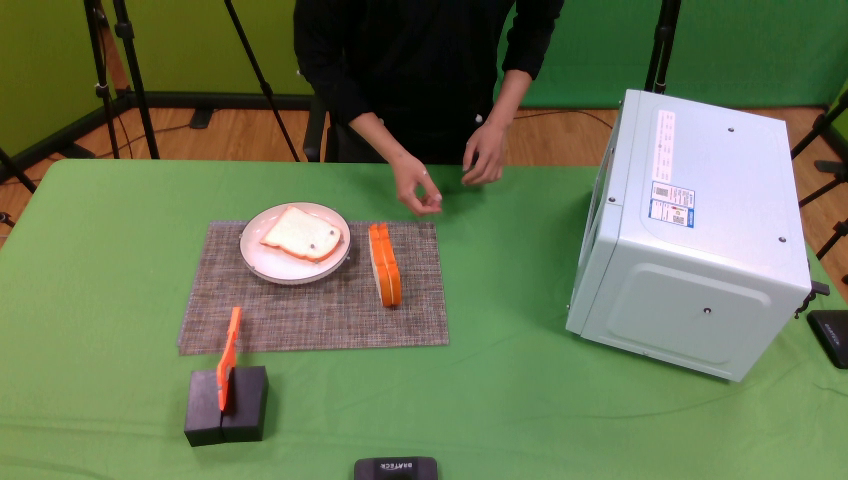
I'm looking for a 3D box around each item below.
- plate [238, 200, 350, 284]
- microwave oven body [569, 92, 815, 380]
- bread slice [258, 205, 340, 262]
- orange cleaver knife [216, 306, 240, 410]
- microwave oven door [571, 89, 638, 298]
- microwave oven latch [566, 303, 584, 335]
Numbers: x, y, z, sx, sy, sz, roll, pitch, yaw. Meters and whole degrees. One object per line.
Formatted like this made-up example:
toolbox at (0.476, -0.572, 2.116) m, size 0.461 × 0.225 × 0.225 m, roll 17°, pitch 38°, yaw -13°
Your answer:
plate at (-0.245, 0.007, 1.155) m, size 0.208 × 0.039 × 0.206 m, roll 2°, pitch 46°, yaw -2°
microwave oven body at (0.468, -0.022, 1.082) m, size 0.325 × 0.261 × 0.440 m, roll 15°, pitch 46°, yaw 11°
bread slice at (-0.232, -0.009, 1.168) m, size 0.134 × 0.018 × 0.106 m, roll 19°, pitch 51°, yaw 10°
orange cleaver knife at (-0.307, 0.180, 0.957) m, size 0.012 × 0.077 × 0.210 m, roll -2°, pitch 25°, yaw -8°
microwave oven door at (0.343, -0.091, 1.133) m, size 0.039 × 0.245 × 0.354 m, roll 15°, pitch 47°, yaw 10°
microwave oven latch at (0.268, 0.126, 1.059) m, size 0.030 × 0.029 × 0.079 m, roll 16°, pitch 46°, yaw 12°
